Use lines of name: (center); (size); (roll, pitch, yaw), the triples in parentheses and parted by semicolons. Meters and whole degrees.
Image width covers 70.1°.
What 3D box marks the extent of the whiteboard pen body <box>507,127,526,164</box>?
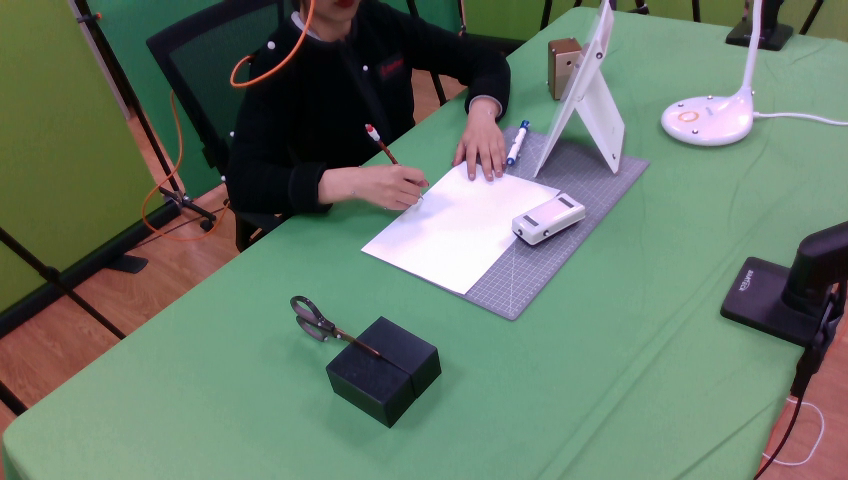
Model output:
whiteboard pen body: (0.181, -0.189, 1.162); (0.017, 0.017, 0.140); (8, 42, 19)

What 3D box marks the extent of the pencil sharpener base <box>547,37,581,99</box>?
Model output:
pencil sharpener base: (0.299, -0.368, 1.290); (0.061, 0.107, 0.076); (-8, 40, 3)

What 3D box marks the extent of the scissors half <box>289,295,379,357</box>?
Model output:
scissors half: (-0.123, 0.114, 0.803); (0.174, 0.040, 0.013); (26, 48, 32)

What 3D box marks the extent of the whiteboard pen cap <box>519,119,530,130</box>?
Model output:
whiteboard pen cap: (0.199, -0.226, 1.204); (0.018, 0.018, 0.033); (7, 41, 18)

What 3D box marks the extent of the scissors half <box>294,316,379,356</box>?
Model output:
scissors half: (-0.119, 0.132, 0.813); (0.174, 0.040, 0.013); (8, 31, 44)

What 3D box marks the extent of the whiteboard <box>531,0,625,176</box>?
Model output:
whiteboard: (0.320, -0.258, 1.050); (0.144, 0.306, 0.217); (22, 45, 5)

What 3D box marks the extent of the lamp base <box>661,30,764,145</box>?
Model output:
lamp base: (0.535, -0.287, 1.096); (0.179, 0.181, 0.159); (-10, 40, -4)

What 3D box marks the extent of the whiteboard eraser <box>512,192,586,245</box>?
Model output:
whiteboard eraser: (0.199, -0.032, 0.962); (0.113, 0.042, 0.055); (-27, 42, -20)

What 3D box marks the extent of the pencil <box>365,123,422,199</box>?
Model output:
pencil: (-0.047, -0.127, 1.008); (0.012, 0.195, 0.012); (-16, 51, 20)

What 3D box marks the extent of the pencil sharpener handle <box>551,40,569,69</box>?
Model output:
pencil sharpener handle: (0.291, -0.409, 1.321); (0.036, 0.068, 0.030); (2, 40, -6)
